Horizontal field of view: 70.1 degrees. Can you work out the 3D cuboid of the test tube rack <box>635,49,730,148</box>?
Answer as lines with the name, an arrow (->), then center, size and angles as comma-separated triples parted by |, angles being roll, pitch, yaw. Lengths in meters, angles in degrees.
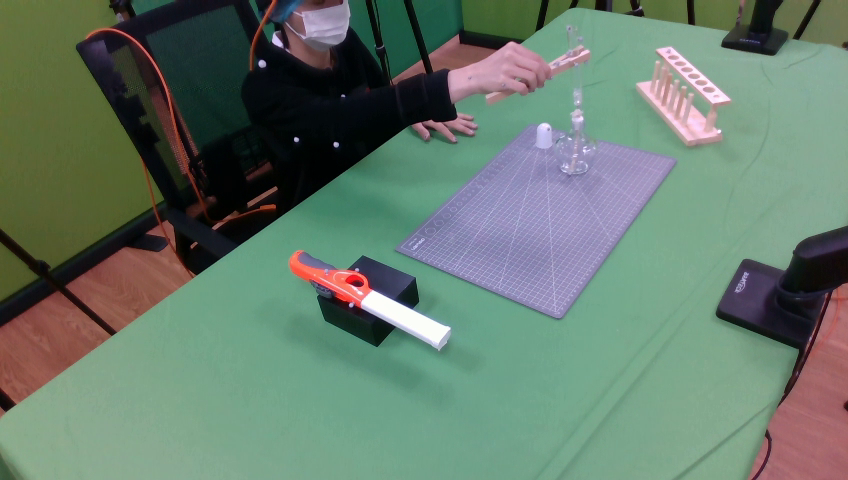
test tube rack -> 0.497, -0.283, 1.185 | 0.067, 0.085, 0.240 | -10, 40, -2

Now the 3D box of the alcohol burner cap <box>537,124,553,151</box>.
alcohol burner cap -> 0.232, -0.199, 1.158 | 0.034, 0.048, 0.033 | -5, 41, 4

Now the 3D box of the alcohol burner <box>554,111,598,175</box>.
alcohol burner -> 0.270, -0.175, 1.066 | 0.078, 0.119, 0.077 | -4, 42, 4

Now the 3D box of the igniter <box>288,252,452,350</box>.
igniter -> -0.084, 0.077, 0.821 | 0.274, 0.025, 0.057 | 23, 48, 27

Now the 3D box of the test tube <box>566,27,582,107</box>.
test tube -> 0.240, -0.272, 0.965 | 0.017, 0.151, 0.017 | -9, 51, 12

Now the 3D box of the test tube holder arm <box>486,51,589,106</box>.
test tube holder arm -> 0.177, -0.251, 0.938 | 0.179, 0.015, 0.013 | -27, 47, -7

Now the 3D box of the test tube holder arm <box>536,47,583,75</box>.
test tube holder arm -> 0.213, -0.276, 0.949 | 0.088, 0.015, 0.010 | -33, 48, -12
